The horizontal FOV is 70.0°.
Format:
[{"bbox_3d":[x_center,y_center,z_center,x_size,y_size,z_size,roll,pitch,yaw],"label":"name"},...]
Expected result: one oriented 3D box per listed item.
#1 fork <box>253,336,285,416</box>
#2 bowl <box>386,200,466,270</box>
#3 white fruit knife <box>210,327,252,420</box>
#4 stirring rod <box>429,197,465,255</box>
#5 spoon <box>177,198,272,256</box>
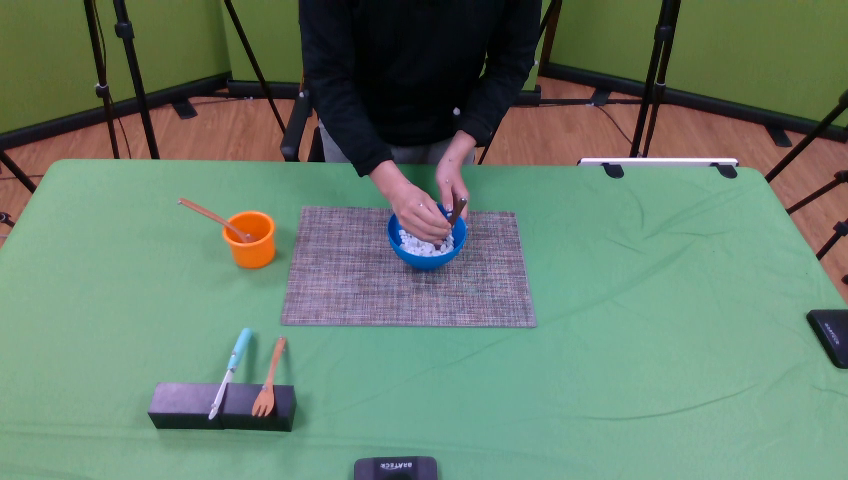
[{"bbox_3d":[-0.235,0.206,0.938,0.028,0.019,0.206,-3,26,-3],"label":"fork"},{"bbox_3d":[0.001,0.003,1.150,0.151,0.077,0.150,2,46,-2],"label":"bowl"},{"bbox_3d":[-0.298,0.200,0.937,0.016,0.027,0.206,0,30,0],"label":"white fruit knife"},{"bbox_3d":[0.040,-0.021,1.085,0.014,0.176,0.006,20,53,-5],"label":"stirring rod"},{"bbox_3d":[-0.361,-0.025,1.106,0.021,0.195,0.041,-32,37,28],"label":"spoon"}]
